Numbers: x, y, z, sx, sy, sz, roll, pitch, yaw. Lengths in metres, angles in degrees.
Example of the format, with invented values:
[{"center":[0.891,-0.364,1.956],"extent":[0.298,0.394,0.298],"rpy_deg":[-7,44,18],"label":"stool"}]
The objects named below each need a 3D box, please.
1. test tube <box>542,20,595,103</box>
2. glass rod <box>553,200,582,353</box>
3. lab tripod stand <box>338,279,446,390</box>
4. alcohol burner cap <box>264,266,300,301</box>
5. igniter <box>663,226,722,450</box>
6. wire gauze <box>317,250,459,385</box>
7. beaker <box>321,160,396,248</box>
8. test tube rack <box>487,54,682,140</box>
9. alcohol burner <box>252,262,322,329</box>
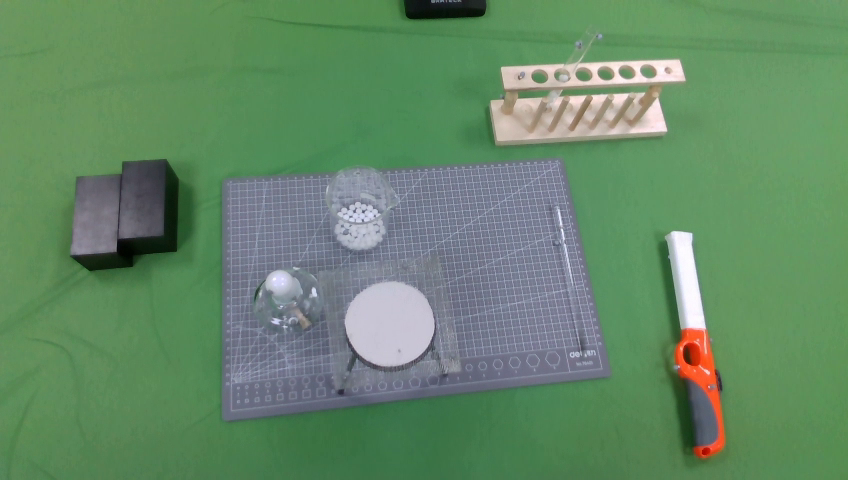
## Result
[{"center":[0.179,-0.222,0.770],"extent":[0.017,0.151,0.017],"rpy_deg":[4,67,-9],"label":"test tube"},{"center":[0.180,0.042,0.762],"extent":[0.008,0.008,0.198],"rpy_deg":[-4,73,-7],"label":"glass rod"},{"center":[-0.041,0.100,0.651],"extent":[0.148,0.132,0.147],"rpy_deg":[1,68,-3],"label":"lab tripod stand"},{"center":[-0.150,0.044,0.634],"extent":[0.034,0.048,0.033],"rpy_deg":[0,74,1],"label":"alcohol burner cap"},{"center":[0.327,0.113,0.742],"extent":[0.057,0.025,0.274],"rpy_deg":[6,69,-14],"label":"igniter"},{"center":[-0.036,0.073,0.590],"extent":[0.125,0.011,0.120],"rpy_deg":[-8,69,-8],"label":"wire gauze"},{"center":[-0.077,-0.038,0.719],"extent":[0.084,0.101,0.073],"rpy_deg":[4,69,-4],"label":"beaker"},{"center":[0.214,-0.191,0.815],"extent":[0.243,0.085,0.066],"rpy_deg":[-5,69,-7],"label":"test tube rack"},{"center":[-0.153,0.056,0.668],"extent":[0.078,0.120,0.077],"rpy_deg":[2,67,-4],"label":"alcohol burner"}]
